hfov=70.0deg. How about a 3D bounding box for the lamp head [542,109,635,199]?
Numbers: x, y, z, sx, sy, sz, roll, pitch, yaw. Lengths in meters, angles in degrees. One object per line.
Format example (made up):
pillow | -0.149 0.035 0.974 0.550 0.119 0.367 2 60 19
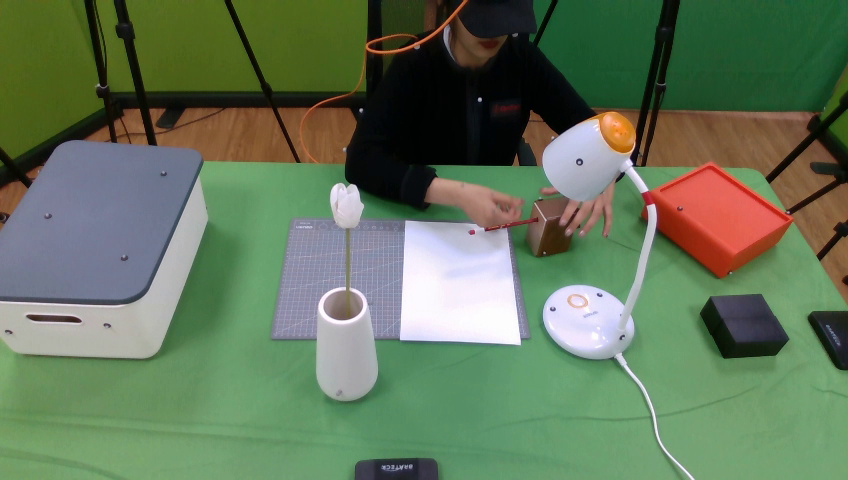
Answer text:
lamp head | 0.253 -0.131 0.893 0.113 0.123 0.112 10 66 -24

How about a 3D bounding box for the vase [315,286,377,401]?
vase | -0.119 0.159 0.911 0.098 0.201 0.097 2 47 -2

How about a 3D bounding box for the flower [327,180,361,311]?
flower | -0.110 0.086 0.867 0.044 0.363 0.038 22 33 35

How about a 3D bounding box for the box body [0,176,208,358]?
box body | -0.546 0.017 1.045 0.254 0.161 0.361 2 46 -2

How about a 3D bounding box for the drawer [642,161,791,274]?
drawer | 0.596 -0.051 1.246 0.194 0.073 0.210 -23 52 -25

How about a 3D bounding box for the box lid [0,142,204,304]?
box lid | -0.534 -0.044 0.995 0.263 0.015 0.369 3 45 -3

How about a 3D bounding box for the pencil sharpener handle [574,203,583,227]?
pencil sharpener handle | 0.300 -0.048 1.187 0.031 0.068 0.036 -11 55 -14

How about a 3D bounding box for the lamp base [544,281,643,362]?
lamp base | 0.304 0.095 1.014 0.161 0.181 0.178 -24 54 -24

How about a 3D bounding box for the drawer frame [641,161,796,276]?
drawer frame | 0.599 -0.051 1.244 0.202 0.083 0.212 -24 52 -25

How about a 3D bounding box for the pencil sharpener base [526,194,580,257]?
pencil sharpener base | 0.252 -0.028 1.181 0.077 0.107 0.061 -11 47 -14

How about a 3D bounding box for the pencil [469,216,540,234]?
pencil | 0.176 -0.033 1.143 0.194 0.012 0.012 -11 48 -13

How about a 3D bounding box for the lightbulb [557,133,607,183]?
lightbulb | 0.242 -0.127 0.916 0.059 0.108 0.059 5 67 -13
